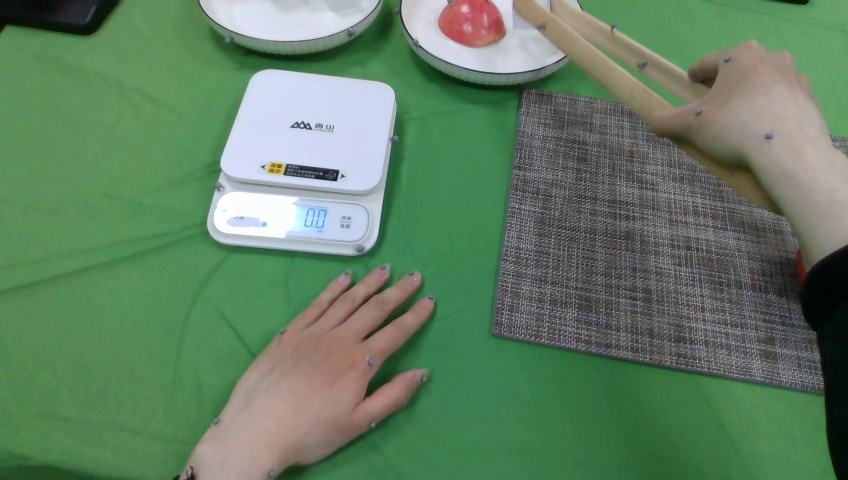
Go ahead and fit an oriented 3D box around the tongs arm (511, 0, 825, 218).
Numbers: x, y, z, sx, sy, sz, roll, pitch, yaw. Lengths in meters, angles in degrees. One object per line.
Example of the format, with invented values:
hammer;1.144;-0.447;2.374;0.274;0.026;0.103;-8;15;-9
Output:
tongs arm;0.179;-0.139;0.539;0.028;0.028;0.383;-14;44;-21

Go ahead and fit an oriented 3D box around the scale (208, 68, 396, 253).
scale;-0.109;-0.081;0.569;0.149;0.032;0.199;5;56;0

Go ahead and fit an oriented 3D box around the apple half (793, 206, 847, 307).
apple half;0.340;0.020;0.498;0.053;0.075;0.080;-24;64;-14

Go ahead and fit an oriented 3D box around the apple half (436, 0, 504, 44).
apple half;0.056;-0.260;0.690;0.081;0.033;0.080;0;53;0

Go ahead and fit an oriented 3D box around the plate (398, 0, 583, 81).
plate;0.075;-0.248;0.690;0.209;0.038;0.207;2;55;-2

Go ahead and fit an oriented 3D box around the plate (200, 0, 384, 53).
plate;-0.148;-0.281;0.699;0.208;0.039;0.205;2;56;-2

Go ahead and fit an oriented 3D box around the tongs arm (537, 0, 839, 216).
tongs arm;0.201;-0.146;0.546;0.051;0.027;0.380;-20;46;-22
